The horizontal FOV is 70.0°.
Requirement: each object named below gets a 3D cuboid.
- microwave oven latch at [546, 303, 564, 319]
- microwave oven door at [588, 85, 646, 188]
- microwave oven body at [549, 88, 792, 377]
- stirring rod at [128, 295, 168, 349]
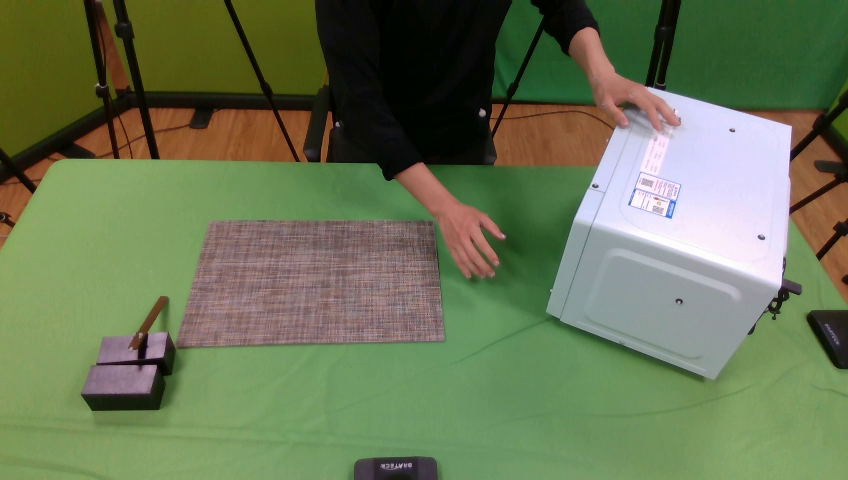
[{"bbox_3d":[0.242,0.102,1.081,0.030,0.029,0.079,21,48,17],"label":"microwave oven latch"},{"bbox_3d":[0.342,-0.107,1.149,0.039,0.245,0.354,21,48,15],"label":"microwave oven door"},{"bbox_3d":[0.456,-0.028,1.088,0.325,0.261,0.440,20,47,16],"label":"microwave oven body"},{"bbox_3d":[-0.451,0.131,0.996,0.014,0.006,0.175,9,21,-10],"label":"stirring rod"}]
